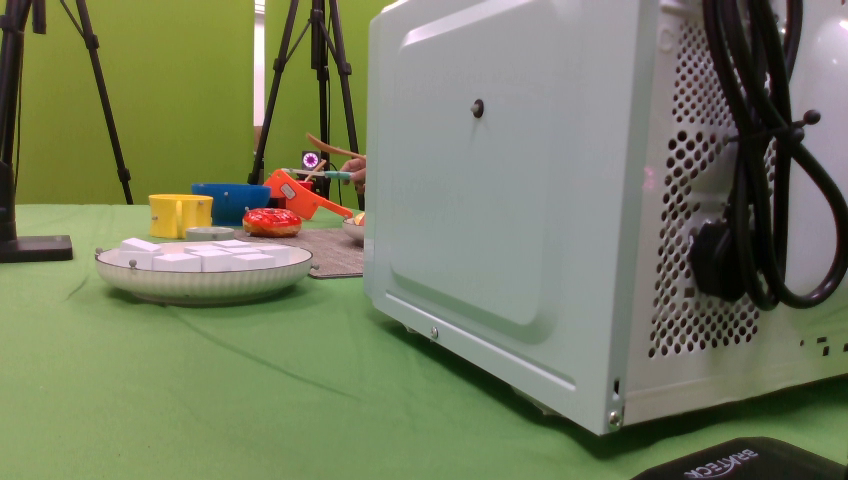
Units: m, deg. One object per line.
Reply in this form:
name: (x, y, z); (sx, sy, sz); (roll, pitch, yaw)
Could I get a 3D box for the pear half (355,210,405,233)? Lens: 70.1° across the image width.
pear half: (-0.075, -0.035, 1.045); (0.088, 0.031, 0.070); (5, 26, -8)

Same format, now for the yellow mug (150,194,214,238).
yellow mug: (-0.401, -0.039, 1.003); (0.100, 0.064, 0.130); (0, 9, -20)

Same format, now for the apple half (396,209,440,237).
apple half: (-0.008, -0.036, 1.053); (0.081, 0.033, 0.081); (14, 26, -7)

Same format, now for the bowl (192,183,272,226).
bowl: (-0.381, -0.070, 1.202); (0.151, 0.077, 0.151); (3, 7, 0)

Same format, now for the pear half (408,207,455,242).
pear half: (0.018, -0.026, 0.999); (0.076, 0.056, 0.110); (9, 6, 19)

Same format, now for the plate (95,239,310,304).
plate: (-0.224, 0.031, 0.629); (0.208, 0.039, 0.207); (2, 8, 0)

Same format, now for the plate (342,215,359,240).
plate: (-0.033, -0.015, 1.005); (0.209, 0.038, 0.209); (2, 8, 0)

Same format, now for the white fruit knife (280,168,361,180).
white fruit knife: (-0.207, -0.139, 1.262); (0.208, 0.016, 0.027); (-1, -10, -42)

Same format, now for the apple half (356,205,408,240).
apple half: (-0.065, -0.029, 0.970); (0.081, 0.053, 0.074); (3, 8, -27)

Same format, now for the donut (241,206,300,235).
donut: (-0.263, -0.032, 1.039); (0.099, 0.048, 0.099); (4, 9, 0)

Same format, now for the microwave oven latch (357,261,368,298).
microwave oven latch: (-0.019, 0.033, 0.530); (0.079, 0.029, 0.030); (-1, 7, -26)

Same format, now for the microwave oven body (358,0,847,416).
microwave oven body: (0.211, -0.047, 0.474); (0.444, 0.260, 0.324); (-1, 7, -28)

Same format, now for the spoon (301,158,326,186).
spoon: (-0.320, -0.160, 1.646); (0.041, 0.022, 0.194); (8, 53, 34)

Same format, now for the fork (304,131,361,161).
fork: (-0.119, -0.151, 1.100); (0.207, 0.028, 0.018); (23, 16, -1)

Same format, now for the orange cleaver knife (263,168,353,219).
orange cleaver knife: (-0.262, -0.088, 1.353); (0.211, 0.077, 0.012); (28, 13, 0)

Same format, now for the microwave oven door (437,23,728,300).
microwave oven door: (0.181, -0.072, 0.621); (0.358, 0.243, 0.039); (-2, 8, -29)

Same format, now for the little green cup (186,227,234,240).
little green cup: (-0.285, 0.005, 0.805); (0.061, 0.038, 0.061); (2, 8, 0)
